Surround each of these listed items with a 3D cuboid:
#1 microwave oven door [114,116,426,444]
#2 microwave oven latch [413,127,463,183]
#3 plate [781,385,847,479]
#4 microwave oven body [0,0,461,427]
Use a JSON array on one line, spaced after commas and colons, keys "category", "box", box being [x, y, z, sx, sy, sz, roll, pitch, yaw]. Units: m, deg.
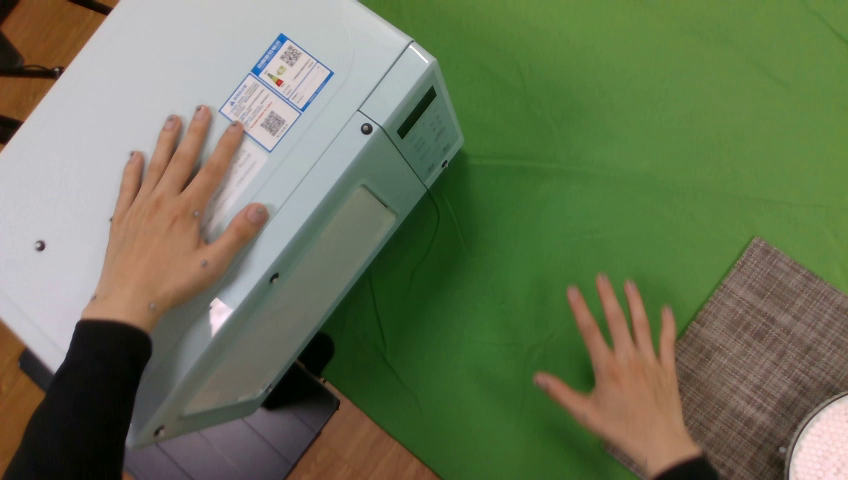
[{"category": "microwave oven door", "box": [-0.138, 0.049, 0.644, 0.039, 0.245, 0.355, 37, 90, 13]}, {"category": "microwave oven latch", "box": [0.016, -0.109, 0.742, 0.030, 0.029, 0.079, 40, 91, 12]}, {"category": "plate", "box": [0.481, 0.250, 0.630, 0.209, 0.038, 0.208, -1, 82, 10]}, {"category": "microwave oven body", "box": [-0.224, -0.071, 0.679, 0.324, 0.261, 0.441, 38, 91, 12]}]
